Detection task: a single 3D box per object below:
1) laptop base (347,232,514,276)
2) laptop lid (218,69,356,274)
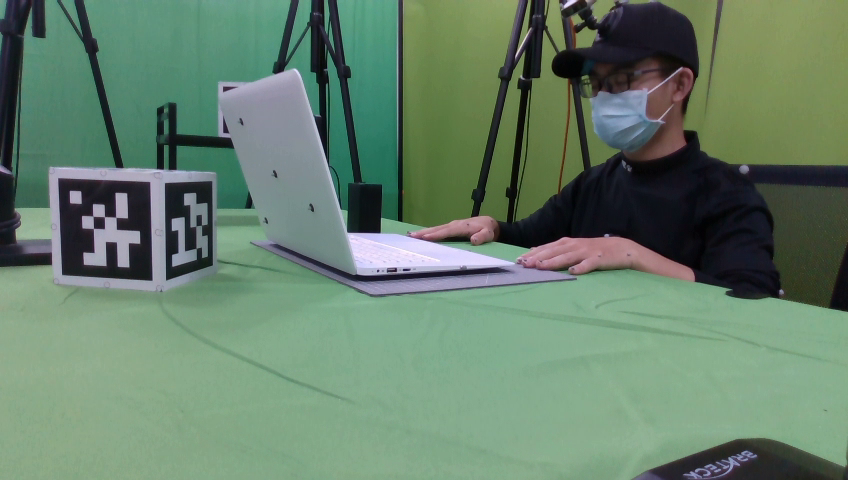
[{"bbox_3d":[-0.066,0.017,0.893,0.237,0.023,0.352,2,6,-32],"label":"laptop base"},{"bbox_3d":[-0.195,-0.090,0.798,0.013,0.242,0.355,-23,20,-27],"label":"laptop lid"}]
